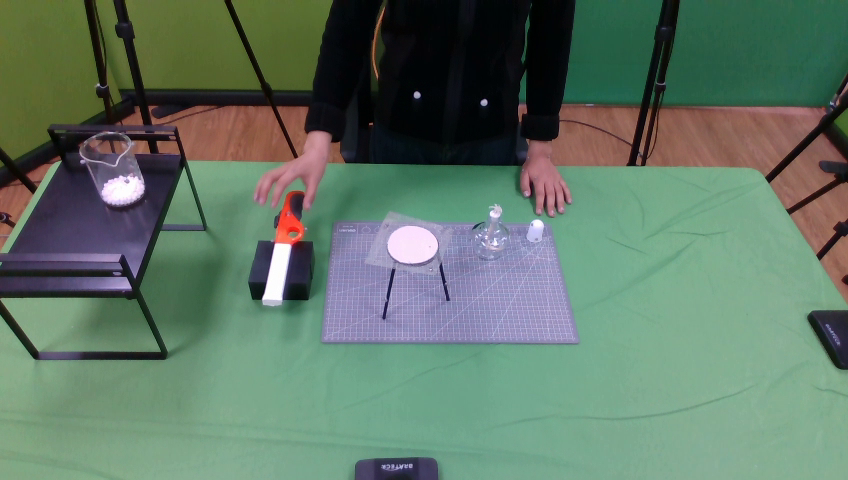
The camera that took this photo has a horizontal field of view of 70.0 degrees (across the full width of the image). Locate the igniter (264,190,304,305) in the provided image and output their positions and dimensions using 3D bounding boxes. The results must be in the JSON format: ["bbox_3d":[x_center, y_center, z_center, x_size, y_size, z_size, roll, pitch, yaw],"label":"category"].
[{"bbox_3d":[-0.255,0.003,1.107,0.057,0.025,0.274,4,47,-6],"label":"igniter"}]

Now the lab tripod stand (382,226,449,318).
[{"bbox_3d":[-0.024,0.055,1.062,0.148,0.132,0.147,2,48,-2],"label":"lab tripod stand"}]

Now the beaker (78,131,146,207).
[{"bbox_3d":[-0.488,-0.108,0.961,0.074,0.101,0.083,-25,54,-25],"label":"beaker"}]

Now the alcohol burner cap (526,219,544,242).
[{"bbox_3d":[0.225,-0.021,1.219,0.034,0.048,0.033,1,46,-1],"label":"alcohol burner cap"}]

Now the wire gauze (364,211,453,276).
[{"bbox_3d":[-0.024,0.006,1.016,0.121,0.011,0.124,14,48,9],"label":"wire gauze"}]

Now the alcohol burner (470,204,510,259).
[{"bbox_3d":[0.128,-0.021,1.161,0.078,0.119,0.077,2,44,-2],"label":"alcohol burner"}]
